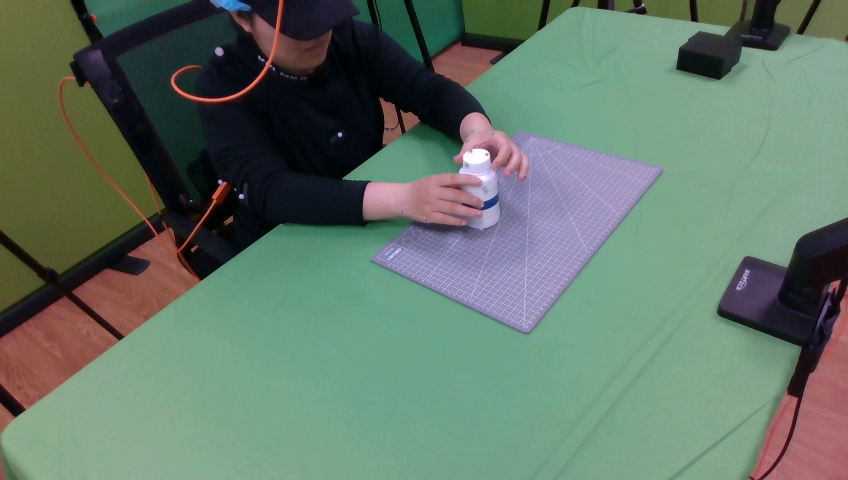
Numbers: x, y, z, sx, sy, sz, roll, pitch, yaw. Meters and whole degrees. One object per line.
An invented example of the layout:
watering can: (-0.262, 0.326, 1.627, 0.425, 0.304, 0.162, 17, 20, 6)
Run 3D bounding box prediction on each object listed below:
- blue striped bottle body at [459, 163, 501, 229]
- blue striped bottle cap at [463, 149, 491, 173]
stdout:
blue striped bottle body: (0.091, -0.083, 0.983, 0.063, 0.121, 0.063, -5, 40, 5)
blue striped bottle cap: (0.083, -0.124, 0.947, 0.044, 0.021, 0.044, -6, 38, 5)
